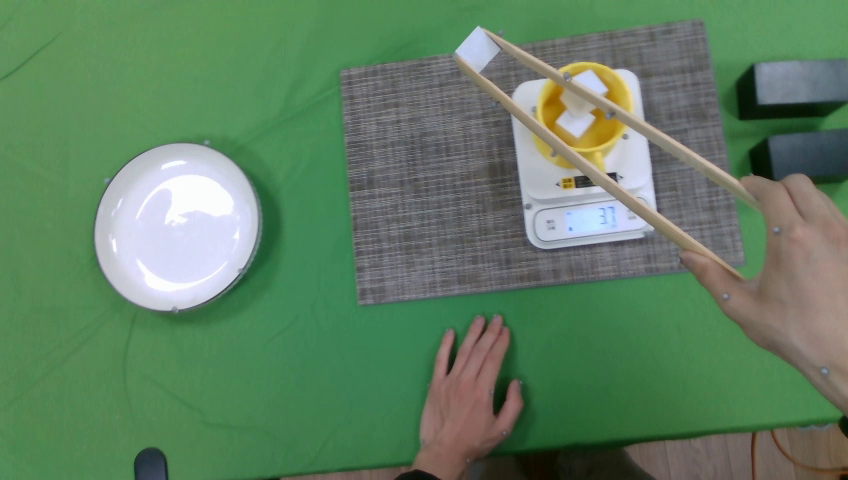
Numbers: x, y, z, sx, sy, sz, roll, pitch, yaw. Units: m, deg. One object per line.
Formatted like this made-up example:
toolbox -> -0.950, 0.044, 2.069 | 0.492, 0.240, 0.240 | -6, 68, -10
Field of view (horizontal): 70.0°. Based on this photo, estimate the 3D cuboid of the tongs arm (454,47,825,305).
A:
tongs arm -> 0.149, -0.071, 0.512 | 0.028, 0.028, 0.383 | -43, 59, -2

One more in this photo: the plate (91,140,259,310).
plate -> -0.301, -0.017, 0.746 | 0.207, 0.039, 0.207 | -1, 83, 5

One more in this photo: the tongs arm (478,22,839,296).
tongs arm -> 0.167, -0.089, 0.511 | 0.051, 0.027, 0.381 | -48, 59, -1

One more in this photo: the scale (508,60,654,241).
scale -> 0.182, -0.105, 0.709 | 0.148, 0.031, 0.200 | -8, 82, 5

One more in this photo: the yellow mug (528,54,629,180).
yellow mug -> 0.172, -0.129, 0.665 | 0.100, 0.064, 0.130 | -17, 82, 2
